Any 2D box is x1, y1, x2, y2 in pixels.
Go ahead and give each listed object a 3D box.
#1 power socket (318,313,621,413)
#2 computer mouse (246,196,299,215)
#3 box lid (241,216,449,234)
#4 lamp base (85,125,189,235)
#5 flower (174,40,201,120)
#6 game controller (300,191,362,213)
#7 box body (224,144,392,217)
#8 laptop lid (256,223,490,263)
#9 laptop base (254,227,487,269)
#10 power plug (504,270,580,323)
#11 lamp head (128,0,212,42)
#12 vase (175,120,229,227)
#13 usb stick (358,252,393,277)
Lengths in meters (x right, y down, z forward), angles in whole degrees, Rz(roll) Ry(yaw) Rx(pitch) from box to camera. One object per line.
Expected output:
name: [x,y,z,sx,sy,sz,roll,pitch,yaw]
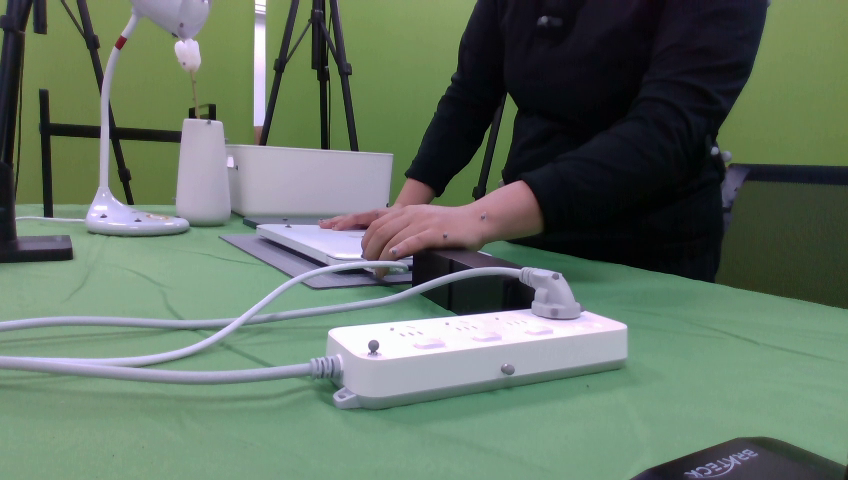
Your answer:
power socket: [0.037,0.076,0.408,0.228,0.032,0.072,-2,8,-29]
computer mouse: [-0.355,-0.082,1.417,0.117,0.041,0.063,1,10,8]
box lid: [-0.162,-0.030,1.232,0.373,0.015,0.262,-1,7,-32]
lamp base: [-0.498,-0.105,1.026,0.179,0.180,0.160,1,7,3]
flower: [-0.431,-0.211,1.165,0.044,0.361,0.038,-10,-5,-22]
game controller: [-0.241,-0.098,1.549,0.155,0.051,0.097,3,8,5]
box body: [-0.289,-0.143,1.474,0.366,0.160,0.253,-1,9,-29]
laptop lid: [-0.093,0.001,0.910,0.243,0.013,0.355,2,6,-30]
laptop base: [-0.096,0.012,0.910,0.237,0.023,0.352,3,6,-32]
power plug: [0.091,0.051,0.469,0.035,0.052,0.072,-1,6,-15]
lamp head: [-0.423,-0.394,0.979,0.123,0.112,0.112,20,7,-3]
vase: [-0.425,-0.127,1.158,0.098,0.200,0.098,2,9,0]
usb stick: [-0.059,0.028,0.697,0.021,0.027,0.059,0,1,-32]
